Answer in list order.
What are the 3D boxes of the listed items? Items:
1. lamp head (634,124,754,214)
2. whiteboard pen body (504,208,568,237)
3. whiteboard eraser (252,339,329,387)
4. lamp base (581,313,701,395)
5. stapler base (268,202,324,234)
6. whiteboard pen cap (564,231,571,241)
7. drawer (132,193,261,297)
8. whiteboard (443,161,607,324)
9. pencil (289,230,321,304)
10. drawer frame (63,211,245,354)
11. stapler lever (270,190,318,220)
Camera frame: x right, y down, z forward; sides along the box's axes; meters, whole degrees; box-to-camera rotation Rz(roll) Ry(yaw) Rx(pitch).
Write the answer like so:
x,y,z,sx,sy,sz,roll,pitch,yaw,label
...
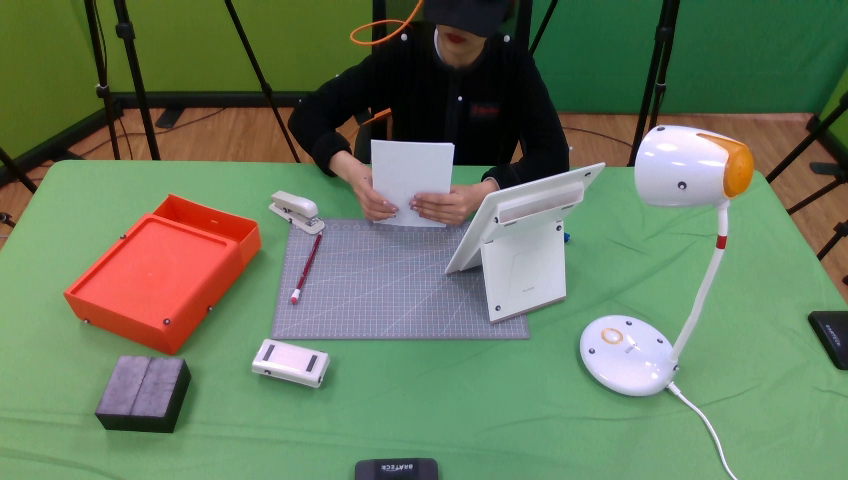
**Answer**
x,y,z,sx,sy,sz,roll,pitch,yaw,label
0.351,-0.089,0.776,0.112,0.113,0.122,-30,30,-28,lamp head
0.230,-0.034,1.248,0.140,0.017,0.017,24,49,17,whiteboard pen body
-0.215,0.199,0.976,0.112,0.042,0.055,12,45,7,whiteboard eraser
0.361,0.144,0.973,0.178,0.181,0.160,34,53,23,lamp base
-0.260,-0.056,1.228,0.130,0.024,0.041,28,46,26,stapler base
0.280,-0.011,1.230,0.033,0.018,0.018,25,50,17,whiteboard pen cap
-0.437,0.027,1.098,0.194,0.073,0.211,18,48,12,drawer
0.185,0.026,1.028,0.217,0.306,0.143,-15,68,-18,whiteboard
-0.221,0.045,1.141,0.012,0.012,0.193,8,44,4,pencil
-0.459,0.067,1.056,0.201,0.083,0.212,17,48,11,drawer frame
-0.261,-0.076,1.211,0.117,0.040,0.027,27,46,26,stapler lever
